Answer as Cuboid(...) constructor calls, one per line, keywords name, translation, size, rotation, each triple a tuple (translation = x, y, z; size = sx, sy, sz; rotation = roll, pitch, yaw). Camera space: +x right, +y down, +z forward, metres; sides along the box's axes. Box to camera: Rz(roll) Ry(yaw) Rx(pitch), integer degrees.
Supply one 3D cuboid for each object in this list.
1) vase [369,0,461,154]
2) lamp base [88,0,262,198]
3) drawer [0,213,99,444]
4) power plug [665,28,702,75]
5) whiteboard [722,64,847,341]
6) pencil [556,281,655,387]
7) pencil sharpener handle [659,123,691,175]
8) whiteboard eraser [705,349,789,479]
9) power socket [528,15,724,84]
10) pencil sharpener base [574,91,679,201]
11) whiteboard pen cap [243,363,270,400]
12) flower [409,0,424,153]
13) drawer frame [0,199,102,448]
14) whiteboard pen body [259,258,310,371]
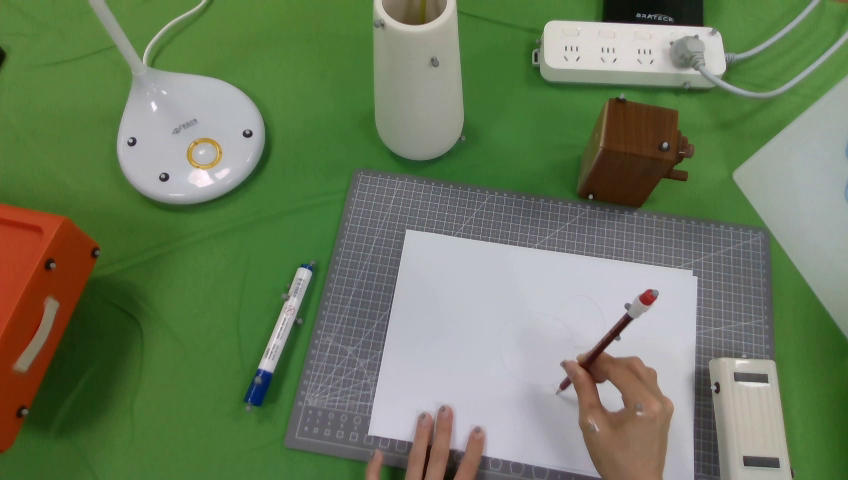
Cuboid(name="vase", translation=(-0.011, -0.170, 0.601), size=(0.098, 0.201, 0.097), rotation=(-1, 67, 2))
Cuboid(name="lamp base", translation=(-0.271, -0.156, 0.606), size=(0.178, 0.181, 0.160), rotation=(41, 73, 18))
Cuboid(name="drawer", translation=(-0.430, 0.055, 0.526), size=(0.211, 0.074, 0.193), rotation=(11, 69, 5))
Cuboid(name="power plug", translation=(0.287, -0.204, 0.679), size=(0.035, 0.053, 0.072), rotation=(13, 70, 6))
Cuboid(name="whiteboard", translation=(0.478, -0.078, 0.539), size=(0.144, 0.307, 0.215), rotation=(-14, 66, -26))
Cuboid(name="pencil", translation=(0.141, 0.086, 0.498), size=(0.012, 0.195, 0.012), rotation=(5, 55, -7))
Cuboid(name="pencil sharpener handle", translation=(0.255, -0.087, 0.604), size=(0.030, 0.068, 0.036), rotation=(11, 67, 5))
Cuboid(name="whiteboard eraser", translation=(0.291, 0.156, 0.550), size=(0.055, 0.042, 0.112), rotation=(4, 68, 0))
Cuboid(name="power socket", translation=(0.238, -0.225, 0.713), size=(0.227, 0.033, 0.071), rotation=(3, 69, 1))
Cuboid(name="pencil sharpener base", translation=(0.205, -0.092, 0.619), size=(0.076, 0.108, 0.061), rotation=(11, 68, 5))
Cuboid(name="whiteboard pen cap", translation=(-0.156, 0.132, 0.569), size=(0.018, 0.018, 0.033), rotation=(13, 63, 6))
Cuboid(name="flower", translation=(-0.002, -0.217, 0.532), size=(0.038, 0.365, 0.043), rotation=(-3, 49, -8))
Cuboid(name="drawer frame", translation=(-0.436, 0.056, 0.528), size=(0.213, 0.083, 0.200), rotation=(12, 69, 3))
Cuboid(name="whiteboard pen body", translation=(-0.140, 0.081, 0.594), size=(0.017, 0.017, 0.140), rotation=(13, 65, 6))
